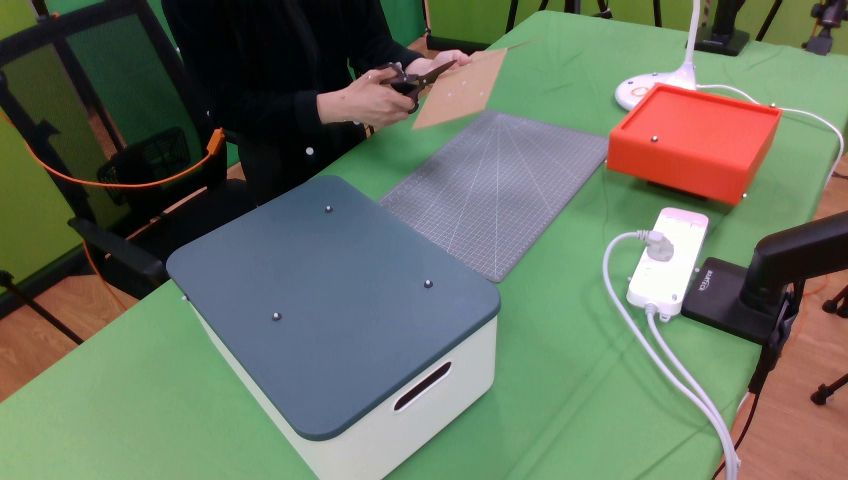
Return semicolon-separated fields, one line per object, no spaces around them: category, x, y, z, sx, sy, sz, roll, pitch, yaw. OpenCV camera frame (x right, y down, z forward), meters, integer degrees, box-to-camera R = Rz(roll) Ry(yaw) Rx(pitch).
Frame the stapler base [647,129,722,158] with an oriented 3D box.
stapler base;0.439;-0.167;1.023;0.131;0.024;0.041;-16;25;-15

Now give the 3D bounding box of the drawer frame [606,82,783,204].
drawer frame;0.441;-0.167;0.995;0.212;0.083;0.202;23;48;30

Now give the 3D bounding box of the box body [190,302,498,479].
box body;-0.110;0.103;0.761;0.255;0.161;0.361;-33;46;-27

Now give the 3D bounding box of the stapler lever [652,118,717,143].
stapler lever;0.436;-0.192;1.014;0.118;0.040;0.026;-15;25;-16

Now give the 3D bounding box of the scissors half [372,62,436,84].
scissors half;-0.012;-0.274;1.004;0.174;0.040;0.013;11;49;25

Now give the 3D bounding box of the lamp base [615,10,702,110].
lamp base;0.484;-0.364;1.211;0.180;0.181;0.159;-15;41;-14

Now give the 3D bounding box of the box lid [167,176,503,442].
box lid;-0.119;0.047;0.714;0.264;0.015;0.368;-32;47;-27

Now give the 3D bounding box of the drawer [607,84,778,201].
drawer;0.439;-0.167;0.995;0.210;0.073;0.195;23;48;30

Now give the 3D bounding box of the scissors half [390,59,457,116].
scissors half;0.000;-0.255;1.016;0.174;0.040;0.013;-31;19;48

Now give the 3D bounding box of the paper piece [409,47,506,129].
paper piece;0.051;-0.228;0.909;0.135;0.004;0.135;-9;46;39

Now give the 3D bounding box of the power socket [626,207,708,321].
power socket;0.360;0.026;0.886;0.072;0.033;0.227;16;46;26

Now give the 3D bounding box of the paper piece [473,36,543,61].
paper piece;0.111;-0.304;0.995;0.137;0.008;0.136;-9;15;40

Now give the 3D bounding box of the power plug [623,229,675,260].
power plug;0.327;0.007;0.878;0.072;0.053;0.035;25;51;32
